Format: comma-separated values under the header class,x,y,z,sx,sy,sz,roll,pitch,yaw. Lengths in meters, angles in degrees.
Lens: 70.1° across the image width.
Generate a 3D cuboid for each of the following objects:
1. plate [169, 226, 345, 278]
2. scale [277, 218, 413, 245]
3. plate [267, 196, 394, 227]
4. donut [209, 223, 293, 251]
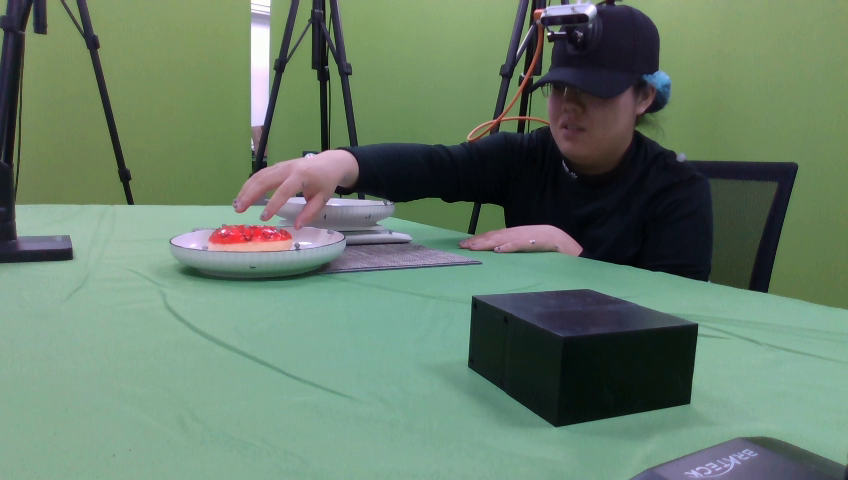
class,x,y,z,sx,sy,sz,roll,pitch,yaw
plate,-0.202,0.014,0.748,0.209,0.038,0.209,1,9,0
scale,-0.134,-0.015,1.015,0.202,0.031,0.148,-2,9,-33
plate,-0.153,-0.047,0.998,0.208,0.039,0.207,2,7,0
donut,-0.210,0.004,0.738,0.099,0.048,0.099,0,7,0
